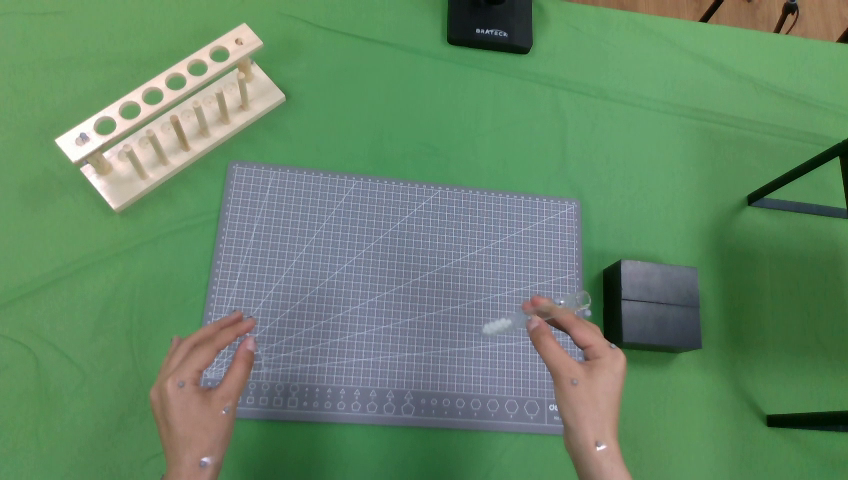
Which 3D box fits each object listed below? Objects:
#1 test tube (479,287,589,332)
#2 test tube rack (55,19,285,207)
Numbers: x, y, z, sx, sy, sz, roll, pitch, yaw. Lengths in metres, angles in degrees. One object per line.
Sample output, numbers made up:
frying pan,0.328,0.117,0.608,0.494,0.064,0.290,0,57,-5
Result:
test tube,0.096,0.067,0.562,0.017,0.150,0.017,10,69,-27
test tube rack,-0.280,-0.146,0.699,0.242,0.085,0.066,-40,83,-18
